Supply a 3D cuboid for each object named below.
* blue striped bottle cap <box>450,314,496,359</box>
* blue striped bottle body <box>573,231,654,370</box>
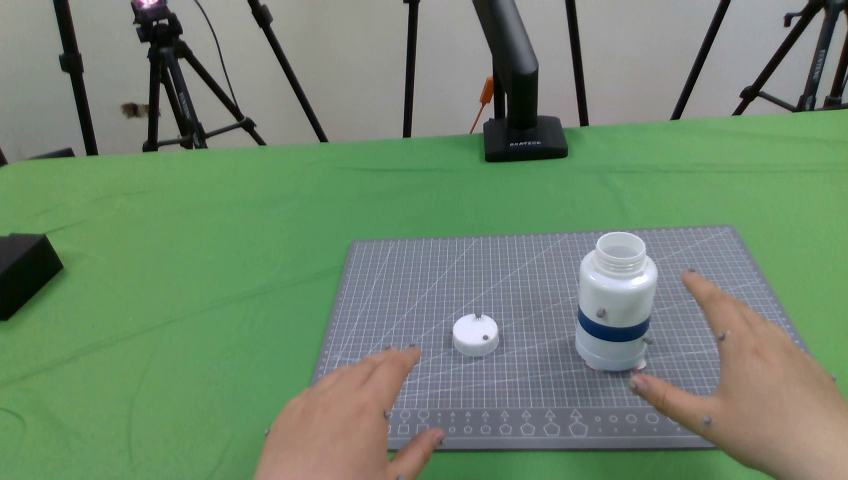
[{"bbox_3d":[0.047,0.092,0.584,0.044,0.021,0.044,-3,34,3],"label":"blue striped bottle cap"},{"bbox_3d":[0.165,0.051,0.530,0.063,0.122,0.062,-4,36,3],"label":"blue striped bottle body"}]
